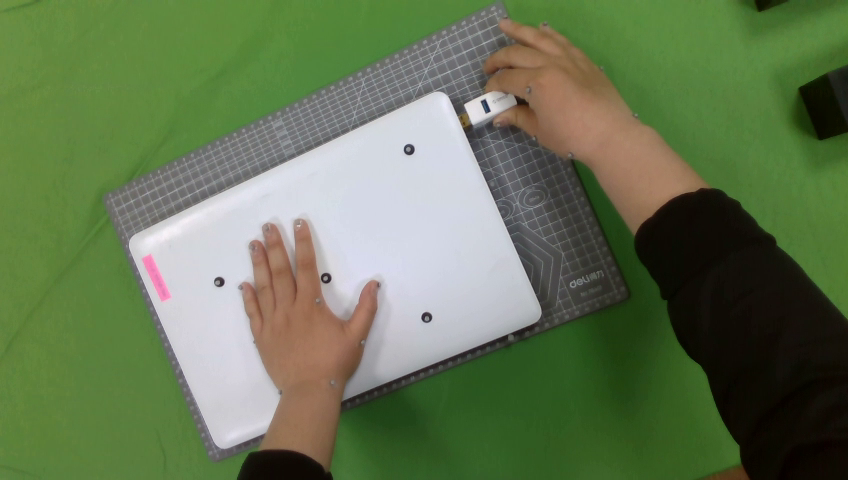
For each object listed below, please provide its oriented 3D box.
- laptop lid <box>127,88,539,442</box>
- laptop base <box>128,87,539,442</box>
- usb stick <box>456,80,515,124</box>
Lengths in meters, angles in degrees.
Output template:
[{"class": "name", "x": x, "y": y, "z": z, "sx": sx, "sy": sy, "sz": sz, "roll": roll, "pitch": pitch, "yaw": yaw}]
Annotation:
[{"class": "laptop lid", "x": -0.095, "y": 0.033, "z": 0.582, "sx": 0.356, "sy": 0.013, "sz": 0.241, "roll": -22, "pitch": 92, "yaw": 9}, {"class": "laptop base", "x": -0.095, "y": 0.030, "z": 0.591, "sx": 0.354, "sy": 0.023, "sz": 0.235, "roll": -24, "pitch": 93, "yaw": 9}, {"class": "usb stick", "x": 0.052, "y": -0.122, "z": 0.552, "sx": 0.059, "sy": 0.027, "sz": 0.021, "roll": -23, "pitch": 88, "yaw": 8}]
